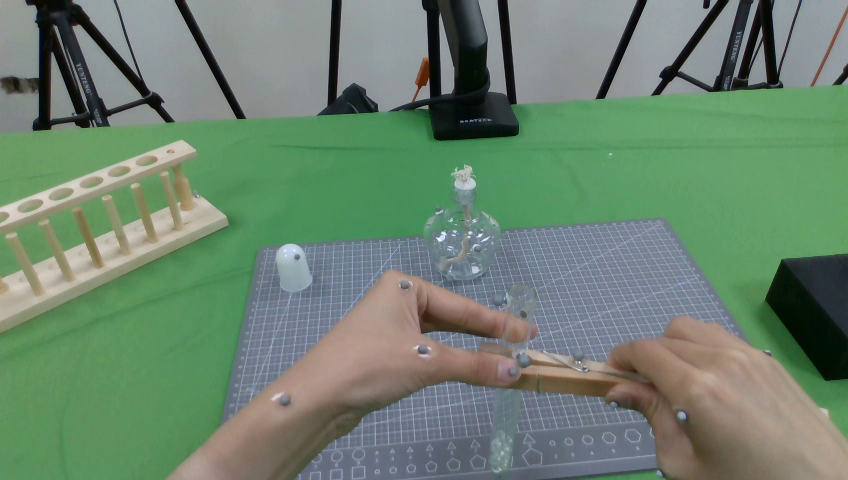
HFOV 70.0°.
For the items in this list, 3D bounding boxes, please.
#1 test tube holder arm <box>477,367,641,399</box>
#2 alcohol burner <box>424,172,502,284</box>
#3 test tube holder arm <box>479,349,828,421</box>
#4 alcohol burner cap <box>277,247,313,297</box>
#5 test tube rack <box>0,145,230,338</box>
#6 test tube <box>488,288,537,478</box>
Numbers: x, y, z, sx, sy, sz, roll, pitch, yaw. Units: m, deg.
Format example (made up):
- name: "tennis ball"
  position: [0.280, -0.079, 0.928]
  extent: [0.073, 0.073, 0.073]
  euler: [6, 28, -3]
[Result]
- name: "test tube holder arm"
  position: [0.073, 0.079, 0.335]
  extent: [0.087, 0.015, 0.010]
  euler: [0, 44, 9]
- name: "alcohol burner"
  position: [0.038, -0.016, 0.588]
  extent: [0.078, 0.120, 0.077]
  euler: [0, 39, 0]
- name: "test tube holder arm"
  position: [0.118, 0.078, 0.330]
  extent: [0.178, 0.015, 0.013]
  euler: [4, 45, 14]
- name: "alcohol burner cap"
  position: [-0.128, 0.029, 0.596]
  extent: [0.034, 0.048, 0.033]
  euler: [-1, 38, 1]
- name: "test tube rack"
  position: [-0.331, -0.007, 0.618]
  extent: [0.242, 0.086, 0.066]
  euler: [-31, 46, -33]
- name: "test tube"
  position: [0.050, 0.090, 0.353]
  extent: [0.017, 0.151, 0.017]
  euler: [1, 35, 0]
